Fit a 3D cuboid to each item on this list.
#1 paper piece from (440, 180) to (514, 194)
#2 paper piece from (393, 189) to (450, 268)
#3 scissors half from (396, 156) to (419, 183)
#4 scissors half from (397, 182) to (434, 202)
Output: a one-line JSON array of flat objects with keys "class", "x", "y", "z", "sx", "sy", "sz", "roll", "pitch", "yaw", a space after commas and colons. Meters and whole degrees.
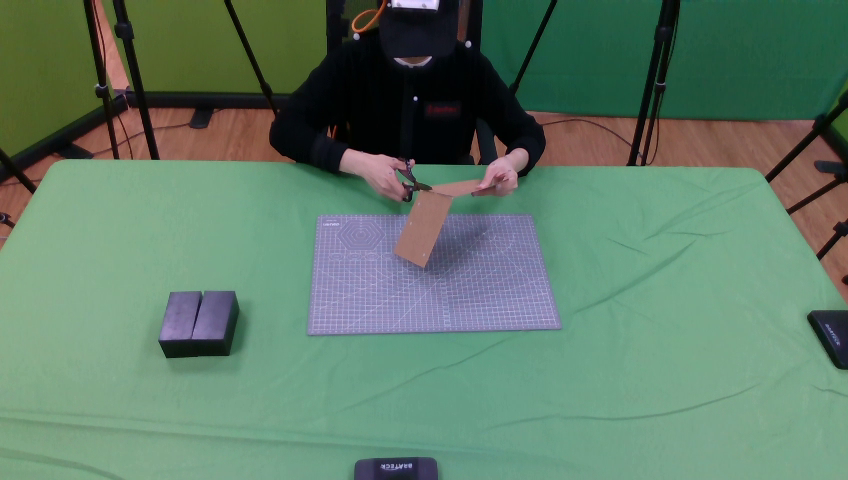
[{"class": "paper piece", "x": 0.080, "y": -0.098, "z": 1.144, "sx": 0.136, "sy": 0.004, "sz": 0.135, "roll": -14, "pitch": 7, "yaw": -23}, {"class": "paper piece", "x": -0.006, "y": -0.026, "z": 1.114, "sx": 0.009, "sy": 0.138, "sz": 0.135, "roll": 22, "pitch": 1, "yaw": -25}, {"class": "scissors half", "x": -0.016, "y": -0.119, "z": 1.192, "sx": 0.013, "sy": 0.040, "sz": 0.174, "roll": -9, "pitch": 39, "yaw": -25}, {"class": "scissors half", "x": -0.017, "y": -0.097, "z": 1.201, "sx": 0.013, "sy": 0.040, "sz": 0.174, "roll": -14, "pitch": 7, "yaw": -23}]
